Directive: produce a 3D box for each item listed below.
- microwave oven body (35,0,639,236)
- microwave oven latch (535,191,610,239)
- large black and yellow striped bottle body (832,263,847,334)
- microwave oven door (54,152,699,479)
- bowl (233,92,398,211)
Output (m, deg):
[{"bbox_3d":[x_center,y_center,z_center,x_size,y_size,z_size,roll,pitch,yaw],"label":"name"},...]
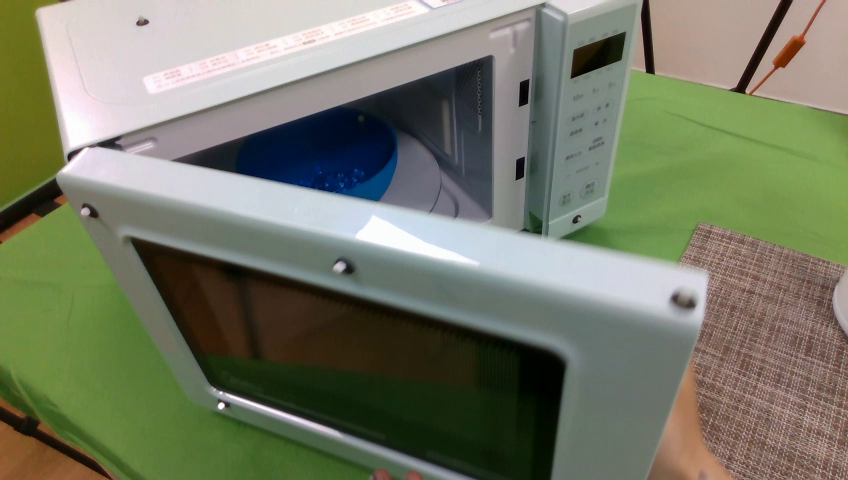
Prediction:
[{"bbox_3d":[-0.081,-0.117,0.603,0.442,0.263,0.322,-24,46,-18],"label":"microwave oven body"},{"bbox_3d":[0.154,-0.031,0.629,0.079,0.030,0.030,-23,46,-17],"label":"microwave oven latch"},{"bbox_3d":[0.421,0.006,0.469,0.131,0.186,0.129,-3,43,3],"label":"large black and yellow striped bottle body"},{"bbox_3d":[-0.039,0.075,0.382,0.354,0.246,0.039,12,46,19],"label":"microwave oven door"},{"bbox_3d":[-0.096,-0.061,0.578,0.151,0.077,0.150,-2,55,3],"label":"bowl"}]
